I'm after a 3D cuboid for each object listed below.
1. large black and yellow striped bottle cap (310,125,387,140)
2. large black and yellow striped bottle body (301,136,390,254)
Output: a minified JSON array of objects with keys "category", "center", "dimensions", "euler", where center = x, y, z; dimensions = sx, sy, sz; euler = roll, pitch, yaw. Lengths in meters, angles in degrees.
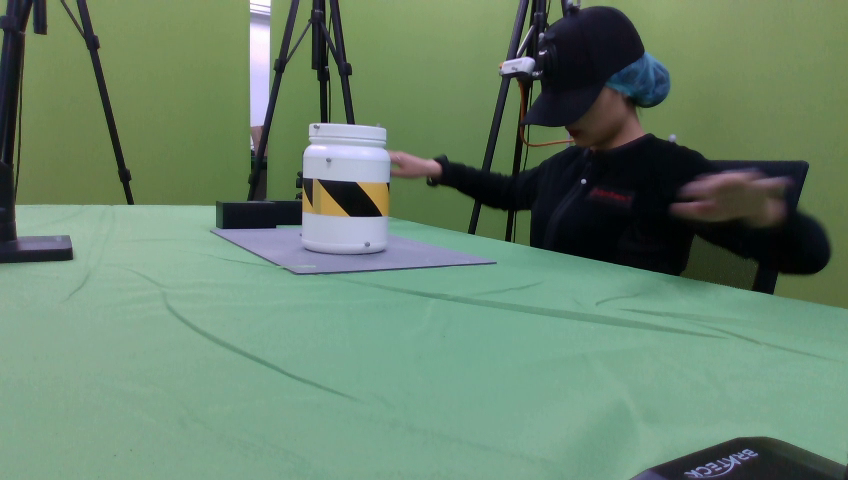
[{"category":"large black and yellow striped bottle cap","center":[-0.112,-0.160,0.901],"dimensions":[0.115,0.019,0.115],"euler":[1,8,0]},{"category":"large black and yellow striped bottle body","center":[-0.117,-0.077,0.912],"dimensions":[0.131,0.184,0.130],"euler":[3,7,0]}]
